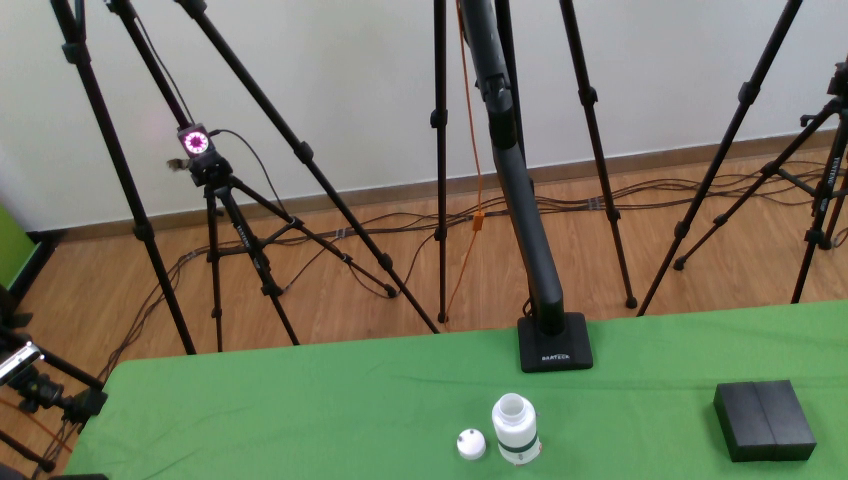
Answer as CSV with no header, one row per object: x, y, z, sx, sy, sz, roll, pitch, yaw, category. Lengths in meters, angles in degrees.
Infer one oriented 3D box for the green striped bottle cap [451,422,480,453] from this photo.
0.065,0.310,0.953,0.044,0.020,0.044,-6,50,8,green striped bottle cap

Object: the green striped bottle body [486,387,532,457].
0.126,0.267,0.903,0.063,0.120,0.062,-7,43,7,green striped bottle body
